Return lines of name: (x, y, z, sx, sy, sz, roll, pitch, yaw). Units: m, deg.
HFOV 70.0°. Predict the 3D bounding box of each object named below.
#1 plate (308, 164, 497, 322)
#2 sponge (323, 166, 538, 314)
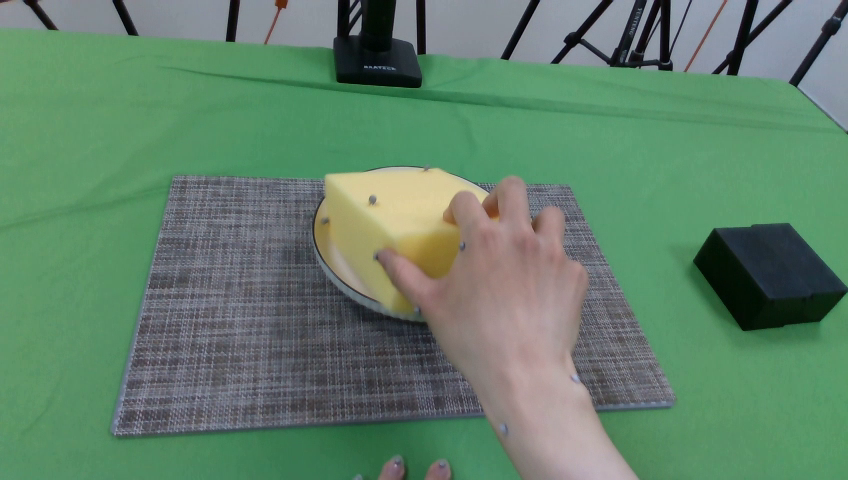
plate: (-0.008, 0.003, 0.593, 0.208, 0.039, 0.205, 7, 43, -6)
sponge: (-0.007, -0.012, 0.518, 0.119, 0.061, 0.205, -6, 20, -21)
